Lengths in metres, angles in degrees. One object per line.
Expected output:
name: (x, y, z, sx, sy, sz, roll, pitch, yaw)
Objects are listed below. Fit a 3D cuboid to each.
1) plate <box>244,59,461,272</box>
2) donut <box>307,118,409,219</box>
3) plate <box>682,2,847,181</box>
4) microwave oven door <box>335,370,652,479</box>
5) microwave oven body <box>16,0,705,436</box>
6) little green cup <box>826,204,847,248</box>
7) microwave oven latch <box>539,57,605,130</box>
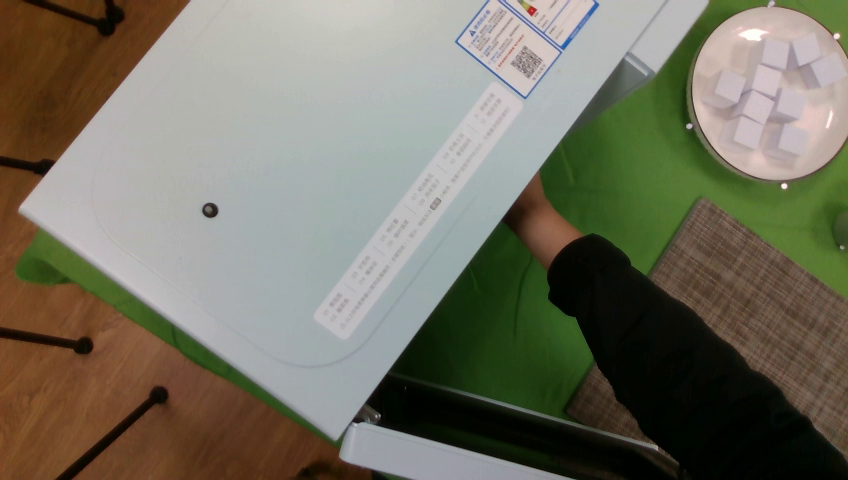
plate: (-0.068, -0.072, 0.599, 0.209, 0.038, 0.208, 0, 87, -6)
donut: (-0.064, -0.069, 0.589, 0.099, 0.048, 0.099, 0, 97, -3)
plate: (0.400, -0.171, 0.716, 0.208, 0.039, 0.207, 0, 88, -6)
microwave oven door: (0.098, 0.194, 0.556, 0.356, 0.243, 0.039, 17, 85, -5)
microwave oven body: (-0.051, -0.113, 0.553, 0.326, 0.260, 0.441, 37, 86, -4)
little green cup: (0.519, -0.017, 0.725, 0.061, 0.038, 0.061, 0, 88, -6)
microwave oven latch: (0.164, -0.161, 0.672, 0.030, 0.029, 0.079, 41, 86, -4)
